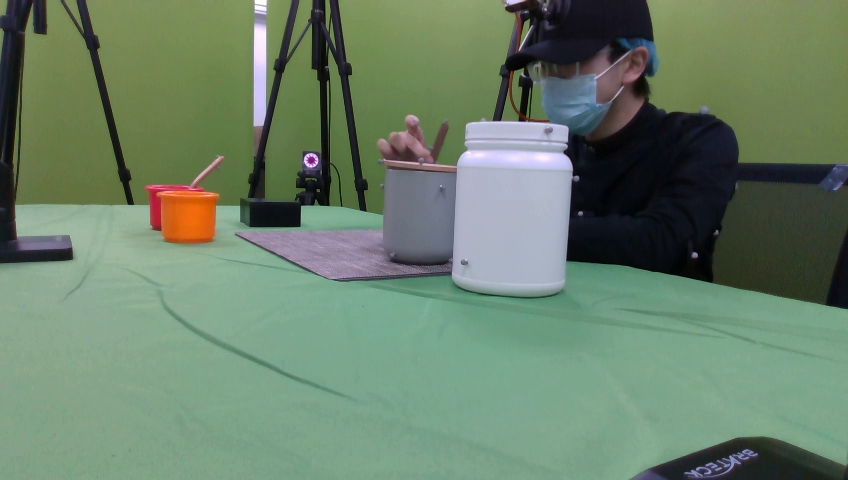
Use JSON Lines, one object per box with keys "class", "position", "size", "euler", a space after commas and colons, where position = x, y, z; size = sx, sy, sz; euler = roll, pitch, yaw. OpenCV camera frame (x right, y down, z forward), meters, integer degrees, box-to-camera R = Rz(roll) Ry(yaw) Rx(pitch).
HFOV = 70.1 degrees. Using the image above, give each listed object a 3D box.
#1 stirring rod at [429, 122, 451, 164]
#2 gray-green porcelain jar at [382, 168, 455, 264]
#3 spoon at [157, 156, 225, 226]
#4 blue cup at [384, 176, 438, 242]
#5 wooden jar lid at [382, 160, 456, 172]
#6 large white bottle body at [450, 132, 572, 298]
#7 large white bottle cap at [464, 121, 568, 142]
{"class": "stirring rod", "position": [0.009, -0.112, 1.001], "size": [0.014, 0.176, 0.006], "euler": [21, 3, 13]}
{"class": "gray-green porcelain jar", "position": [-0.005, -0.034, 0.834], "size": [0.106, 0.126, 0.106], "euler": [3, 7, 0]}
{"class": "spoon", "position": [-0.425, -0.094, 1.117], "size": [0.041, 0.022, 0.194], "euler": [3, 50, 30]}
{"class": "blue cup", "position": [-0.024, -0.049, 0.983], "size": [0.093, 0.100, 0.092], "euler": [4, 4, 0]}
{"class": "wooden jar lid", "position": [-0.003, -0.096, 0.826], "size": [0.108, 0.020, 0.108], "euler": [5, 10, 0]}
{"class": "large white bottle body", "position": [0.099, -0.036, 0.688], "size": [0.131, 0.184, 0.130], "euler": [2, 7, 0]}
{"class": "large white bottle cap", "position": [0.103, -0.120, 0.677], "size": [0.115, 0.018, 0.115], "euler": [3, 7, 0]}
